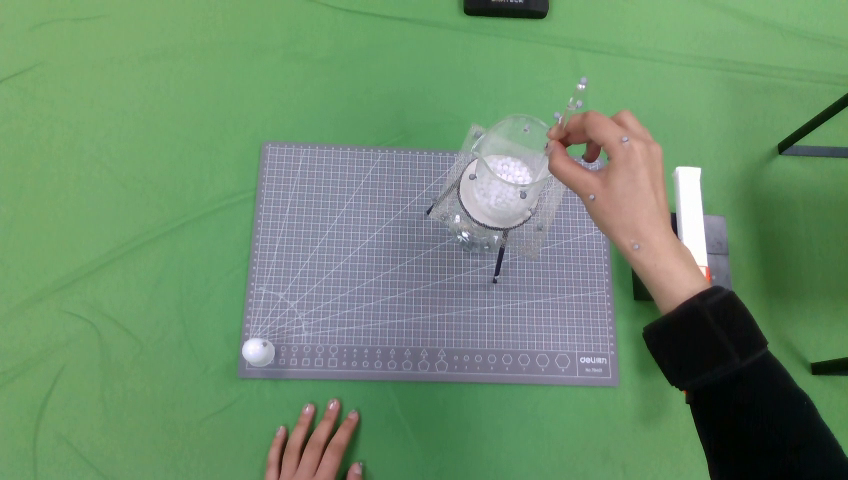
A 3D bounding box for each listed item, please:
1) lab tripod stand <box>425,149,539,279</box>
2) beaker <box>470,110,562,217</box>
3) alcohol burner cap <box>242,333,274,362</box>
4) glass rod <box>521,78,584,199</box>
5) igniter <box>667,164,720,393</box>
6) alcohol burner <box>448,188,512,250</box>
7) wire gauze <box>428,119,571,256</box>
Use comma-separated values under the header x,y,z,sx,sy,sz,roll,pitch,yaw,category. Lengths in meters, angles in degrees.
x,y,z,sx,sy,sz,roll,pitch,yaw,category
0.077,-0.041,0.707,0.148,0.132,0.147,1,72,-4,lab tripod stand
0.083,-0.070,0.597,0.084,0.101,0.073,2,72,-2,beaker
-0.191,0.120,0.689,0.034,0.048,0.033,1,74,-4,alcohol burner cap
0.111,-0.082,0.540,0.008,0.201,0.008,1,69,-3,glass rod
0.313,0.039,0.712,0.057,0.025,0.275,4,73,0,igniter
0.068,-0.030,0.714,0.078,0.119,0.077,1,75,-3,alcohol burner
0.083,-0.057,0.644,0.121,0.011,0.124,25,70,1,wire gauze
